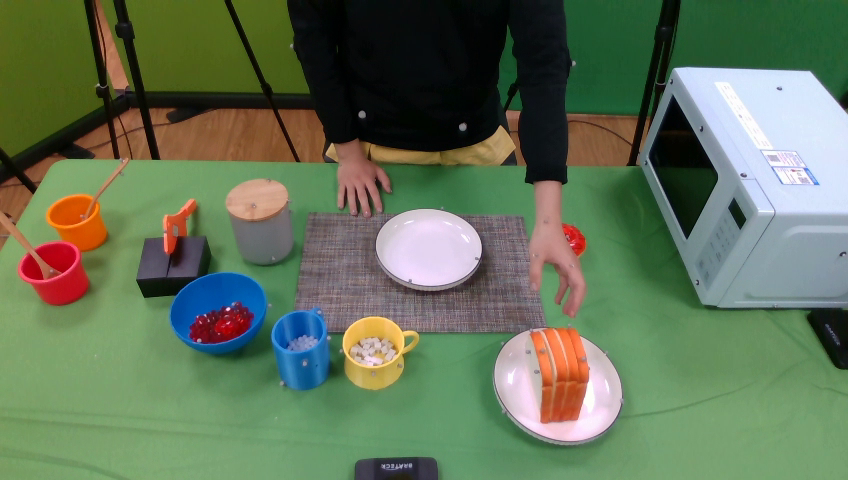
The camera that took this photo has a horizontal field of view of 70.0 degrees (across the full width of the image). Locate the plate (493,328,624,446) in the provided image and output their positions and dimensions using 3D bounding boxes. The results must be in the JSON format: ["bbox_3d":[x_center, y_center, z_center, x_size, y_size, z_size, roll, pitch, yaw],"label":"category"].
[{"bbox_3d":[0.213,0.236,0.974,0.208,0.039,0.206,2,46,-2],"label":"plate"}]

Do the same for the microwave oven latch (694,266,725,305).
[{"bbox_3d":[0.523,0.082,1.115,0.030,0.029,0.078,3,46,0],"label":"microwave oven latch"}]

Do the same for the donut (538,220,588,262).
[{"bbox_3d":[0.273,0.000,1.198,0.099,0.048,0.098,0,47,0],"label":"donut"}]

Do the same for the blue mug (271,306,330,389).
[{"bbox_3d":[-0.188,0.163,0.969,0.082,0.106,0.116,15,47,10],"label":"blue mug"}]

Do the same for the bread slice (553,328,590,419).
[{"bbox_3d":[0.226,0.201,0.932,0.018,0.135,0.106,-4,51,-4],"label":"bread slice"}]

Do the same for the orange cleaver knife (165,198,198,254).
[{"bbox_3d":[-0.458,-0.031,1.149,0.012,0.077,0.210,-2,17,-6],"label":"orange cleaver knife"}]

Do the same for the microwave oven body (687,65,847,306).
[{"bbox_3d":[0.669,-0.111,1.176,0.326,0.261,0.439,0,46,-3],"label":"microwave oven body"}]

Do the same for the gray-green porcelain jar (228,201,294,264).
[{"bbox_3d":[-0.299,-0.027,1.126,0.106,0.127,0.105,2,46,-2],"label":"gray-green porcelain jar"}]

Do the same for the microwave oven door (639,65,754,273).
[{"bbox_3d":[0.522,-0.147,1.193,0.039,0.245,0.353,0,47,-3],"label":"microwave oven door"}]

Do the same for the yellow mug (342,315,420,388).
[{"bbox_3d":[-0.068,0.177,0.990,0.131,0.064,0.099,-15,50,-19],"label":"yellow mug"}]

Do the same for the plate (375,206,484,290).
[{"bbox_3d":[0.009,0.019,1.160,0.209,0.038,0.208,2,47,-2],"label":"plate"}]

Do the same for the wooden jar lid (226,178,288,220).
[{"bbox_3d":[-0.296,-0.070,1.081,0.108,0.021,0.107,1,45,-1],"label":"wooden jar lid"}]

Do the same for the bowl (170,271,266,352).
[{"bbox_3d":[-0.333,0.132,1.006,0.151,0.077,0.150,2,46,-2],"label":"bowl"}]

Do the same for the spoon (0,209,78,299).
[{"bbox_3d":[-0.668,0.022,1.040,0.041,0.021,0.194,-41,105,-29],"label":"spoon"}]

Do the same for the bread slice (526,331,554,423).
[{"bbox_3d":[0.176,0.202,0.929,0.019,0.132,0.104,-9,45,-1],"label":"bread slice"}]

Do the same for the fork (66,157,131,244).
[{"bbox_3d":[-0.608,-0.074,1.132,0.207,0.019,0.028,-52,48,10],"label":"fork"}]
